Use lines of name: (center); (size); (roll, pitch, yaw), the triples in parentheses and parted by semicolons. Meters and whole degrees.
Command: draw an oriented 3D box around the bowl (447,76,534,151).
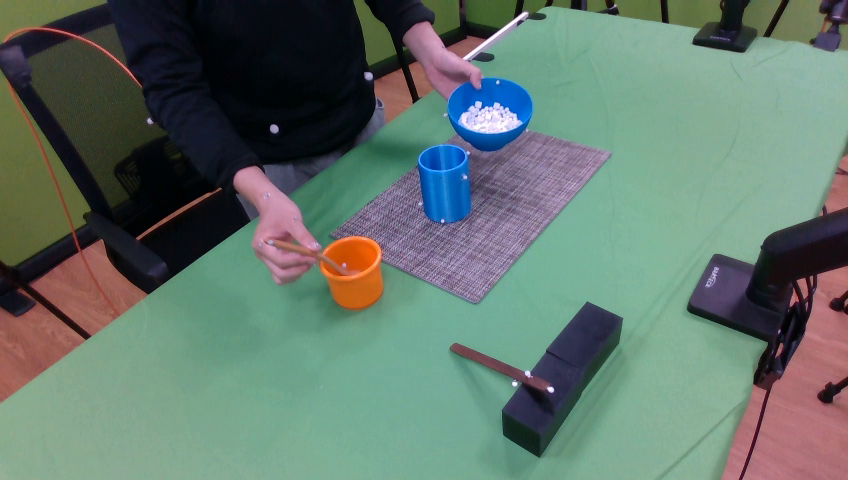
bowl: (0.115, -0.211, 1.069); (0.151, 0.077, 0.150); (-1, 52, 2)

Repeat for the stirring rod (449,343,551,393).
stirring rod: (0.088, 0.154, 0.741); (0.014, 0.006, 0.174); (-39, 28, -25)

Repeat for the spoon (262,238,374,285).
spoon: (-0.138, 0.028, 0.811); (0.041, 0.195, 0.021); (32, 91, 43)

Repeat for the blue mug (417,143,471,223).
blue mug: (0.031, -0.104, 1.014); (0.082, 0.106, 0.115); (-14, 41, -7)
